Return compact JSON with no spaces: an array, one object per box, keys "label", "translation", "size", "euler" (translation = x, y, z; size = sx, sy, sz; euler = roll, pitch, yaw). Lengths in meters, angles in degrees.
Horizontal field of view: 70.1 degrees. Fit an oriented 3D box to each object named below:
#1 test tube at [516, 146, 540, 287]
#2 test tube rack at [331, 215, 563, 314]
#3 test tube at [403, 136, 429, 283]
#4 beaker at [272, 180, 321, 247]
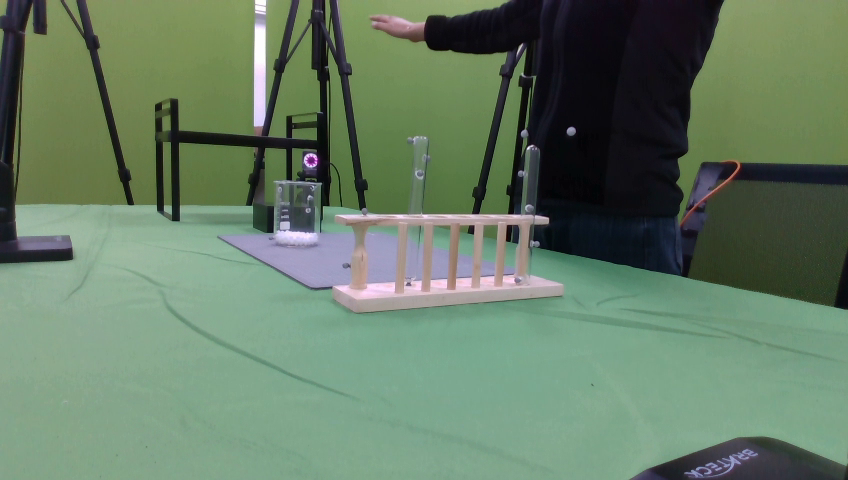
[{"label":"test tube","translation":[0.110,-0.024,0.638],"size":[0.017,0.150,0.017],"euler":[3,6,0]},{"label":"test tube rack","translation":[0.031,0.019,0.626],"size":[0.243,0.085,0.066],"euler":[-1,8,-28]},{"label":"test tube","translation":[-0.009,-0.031,0.617],"size":[0.017,0.150,0.017],"euler":[5,2,0]},{"label":"beaker","translation":[-0.197,-0.042,0.944],"size":[0.073,0.100,0.084],"euler":[7,8,29]}]
